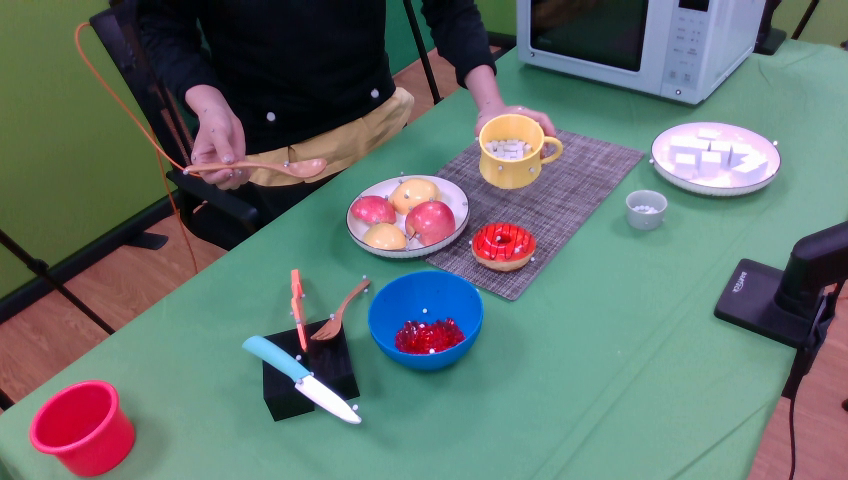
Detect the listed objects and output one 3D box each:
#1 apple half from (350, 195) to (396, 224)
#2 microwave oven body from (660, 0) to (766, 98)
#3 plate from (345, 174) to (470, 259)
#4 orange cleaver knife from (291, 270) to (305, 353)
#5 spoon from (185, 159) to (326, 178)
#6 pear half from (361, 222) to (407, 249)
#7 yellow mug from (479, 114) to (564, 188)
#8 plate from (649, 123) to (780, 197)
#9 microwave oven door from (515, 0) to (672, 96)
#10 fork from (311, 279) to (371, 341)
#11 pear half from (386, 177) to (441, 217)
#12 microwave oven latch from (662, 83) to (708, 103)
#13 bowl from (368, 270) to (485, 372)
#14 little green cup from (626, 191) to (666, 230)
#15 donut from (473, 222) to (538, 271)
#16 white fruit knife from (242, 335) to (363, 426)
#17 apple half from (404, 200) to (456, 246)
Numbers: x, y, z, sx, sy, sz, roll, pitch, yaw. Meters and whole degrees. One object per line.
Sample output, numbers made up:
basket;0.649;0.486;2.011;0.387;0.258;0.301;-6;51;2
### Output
apple half;-0.081;-0.056;1.008;0.081;0.033;0.081;11;24;-4
microwave oven body;0.472;-0.513;1.317;0.438;0.261;0.327;26;51;34
plate;-0.026;-0.036;1.004;0.209;0.038;0.208;-4;40;4
orange cleaver knife;-0.175;0.094;0.844;0.012;0.077;0.210;-11;14;-10
spoon;-0.235;-0.102;0.847;0.194;0.022;0.041;1;42;-6
pear half;-0.063;-0.012;0.958;0.071;0.031;0.087;2;24;-25
yellow mug;0.152;-0.140;0.944;0.131;0.064;0.099;-1;56;3
plate;0.497;-0.135;1.046;0.207;0.039;0.206;-4;40;4
microwave oven door;0.343;-0.455;1.259;0.353;0.245;0.039;26;51;33
fork;-0.108;0.092;0.832;0.028;0.019;0.207;-6;19;15
pear half;-0.030;-0.079;1.033;0.109;0.056;0.076;-1;35;15
microwave oven latch;0.517;-0.296;1.204;0.078;0.029;0.030;28;52;35
bowl;0.007;0.118;0.791;0.151;0.077;0.150;-5;40;4
little green cup;0.352;-0.046;0.963;0.061;0.039;0.061;-4;40;4
donut;0.123;0.009;0.923;0.099;0.048;0.098;-3;37;3
white fruit knife;-0.148;0.167;0.730;0.206;0.016;0.027;26;80;31
apple half;0.010;-0.035;0.969;0.075;0.053;0.080;-27;40;-22
